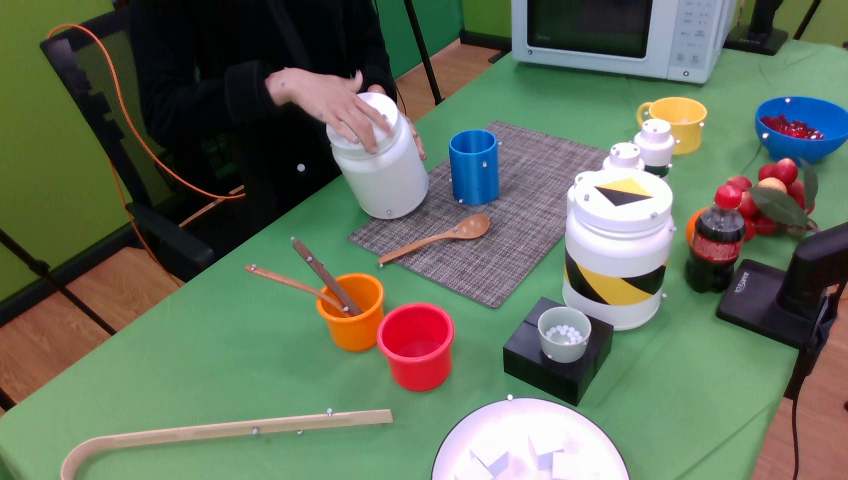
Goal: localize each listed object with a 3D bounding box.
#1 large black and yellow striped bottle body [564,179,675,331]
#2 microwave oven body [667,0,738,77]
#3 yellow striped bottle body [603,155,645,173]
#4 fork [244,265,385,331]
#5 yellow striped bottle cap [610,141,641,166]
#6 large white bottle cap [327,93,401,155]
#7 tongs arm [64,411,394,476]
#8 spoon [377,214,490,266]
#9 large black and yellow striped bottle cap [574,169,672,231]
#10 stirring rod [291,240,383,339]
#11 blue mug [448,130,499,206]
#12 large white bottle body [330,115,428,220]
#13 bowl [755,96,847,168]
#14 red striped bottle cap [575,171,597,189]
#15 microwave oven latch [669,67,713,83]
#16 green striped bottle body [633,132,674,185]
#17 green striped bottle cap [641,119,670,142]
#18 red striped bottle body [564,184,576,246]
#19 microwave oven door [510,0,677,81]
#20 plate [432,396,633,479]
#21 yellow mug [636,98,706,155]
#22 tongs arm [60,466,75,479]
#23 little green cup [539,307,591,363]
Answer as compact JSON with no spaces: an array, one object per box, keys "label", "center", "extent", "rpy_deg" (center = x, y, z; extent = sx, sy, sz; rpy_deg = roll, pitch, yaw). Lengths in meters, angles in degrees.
[{"label":"large black and yellow striped bottle body","center":[0.253,0.014,0.793],"extent":[0.131,0.185,0.130],"rpy_deg":[-5,40,4]},{"label":"microwave oven body","center":[0.462,-0.552,1.369],"extent":[0.439,0.261,0.326],"rpy_deg":[15,45,26]},{"label":"yellow striped bottle body","center":[0.314,-0.090,0.957],"extent":[0.063,0.121,0.062],"rpy_deg":[-4,40,4]},{"label":"fork","center":[-0.142,0.078,0.806],"extent":[0.209,0.018,0.028],"rpy_deg":[30,32,-23]},{"label":"yellow striped bottle cap","center":[0.308,-0.131,0.925],"extent":[0.044,0.019,0.044],"rpy_deg":[-4,46,5]},{"label":"large white bottle cap","center":[-0.093,-0.177,0.922],"extent":[0.114,0.018,0.114],"rpy_deg":[-7,57,11]},{"label":"tongs arm","center":[-0.228,0.241,0.715],"extent":[0.385,0.026,0.050],"rpy_deg":[-5,44,5]},{"label":"spoon","center":[0.015,0.001,0.966],"extent":[0.194,0.022,0.041],"rpy_deg":[-18,62,-12]},{"label":"large black and yellow striped bottle cap","center":[0.242,-0.051,0.738],"extent":[0.115,0.019,0.114],"rpy_deg":[-4,37,3]},{"label":"stirring rod","center":[-0.119,0.068,0.826],"extent":[0.176,0.006,0.014],"rpy_deg":[49,59,-4]},{"label":"blue mug","center":[0.091,-0.134,1.052],"extent":[0.082,0.106,0.116],"rpy_deg":[4,41,13]},{"label":"large white bottle body","center":[-0.073,-0.132,0.992],"extent":[0.130,0.186,0.130],"rpy_deg":[-6,57,10]},{"label":"bowl","center":[0.645,-0.177,1.041],"extent":[0.151,0.077,0.150],"rpy_deg":[-5,40,4]},{"label":"red striped bottle cap","center":[0.242,-0.081,0.876],"extent":[0.044,0.018,0.044],"rpy_deg":[-5,44,5]},{"label":"microwave oven latch","center":[0.556,-0.349,1.261],"extent":[0.078,0.029,0.030],"rpy_deg":[16,46,27]},{"label":"green striped bottle body","center":[0.376,-0.135,1.001],"extent":[0.063,0.120,0.063],"rpy_deg":[-5,40,5]},{"label":"green striped bottle cap","center":[0.371,-0.175,0.968],"extent":[0.044,0.020,0.044],"rpy_deg":[-4,42,5]},{"label":"red striped bottle body","center":[0.247,-0.041,0.910],"extent":[0.063,0.120,0.062],"rpy_deg":[-3,39,3]},{"label":"microwave oven door","center":[0.354,-0.478,1.290],"extent":[0.353,0.245,0.039],"rpy_deg":[15,45,25]},{"label":"plate","center":[0.112,0.261,0.634],"extent":[0.209,0.038,0.208],"rpy_deg":[-5,40,4]},{"label":"yellow mug","center":[0.453,-0.217,1.128],"extent":[0.100,0.064,0.129],"rpy_deg":[-34,46,-27]},{"label":"tongs arm","center":[-0.239,0.301,0.649],"extent":[0.386,0.028,0.028],"rpy_deg":[6,49,16]},{"label":"little green cup","center":[0.167,0.114,0.721],"extent":[0.061,0.039,0.061],"rpy_deg":[-4,43,4]}]
